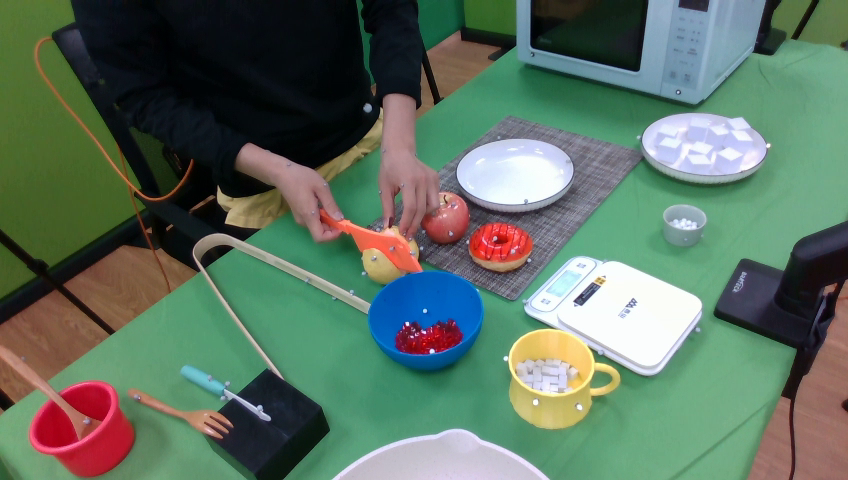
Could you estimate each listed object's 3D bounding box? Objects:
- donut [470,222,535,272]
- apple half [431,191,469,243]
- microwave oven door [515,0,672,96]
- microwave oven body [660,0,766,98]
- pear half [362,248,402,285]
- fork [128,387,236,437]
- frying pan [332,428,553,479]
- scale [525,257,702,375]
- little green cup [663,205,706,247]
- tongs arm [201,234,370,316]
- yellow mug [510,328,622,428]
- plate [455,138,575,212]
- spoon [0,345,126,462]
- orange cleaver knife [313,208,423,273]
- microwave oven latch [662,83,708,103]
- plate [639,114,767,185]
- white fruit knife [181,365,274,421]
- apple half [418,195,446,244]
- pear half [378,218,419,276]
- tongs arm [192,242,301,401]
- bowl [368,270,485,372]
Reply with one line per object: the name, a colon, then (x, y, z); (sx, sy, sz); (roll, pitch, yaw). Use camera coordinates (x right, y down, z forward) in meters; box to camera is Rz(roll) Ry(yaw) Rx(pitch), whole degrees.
donut: (0.119, 0.009, 0.923); (0.099, 0.048, 0.098); (-4, 39, 3)
apple half: (0.045, -0.038, 0.967); (0.053, 0.075, 0.080); (-13, 38, -11)
microwave oven door: (0.343, -0.454, 1.259); (0.353, 0.245, 0.039); (26, 51, 33)
microwave oven body: (0.472, -0.513, 1.317); (0.438, 0.261, 0.327); (26, 51, 34)
pear half: (-0.067, 0.044, 0.887); (0.070, 0.088, 0.031); (21, 68, 19)
fork: (-0.305, 0.207, 0.744); (0.206, 0.019, 0.028); (3, 40, 36)
frying pan: (-0.089, 0.306, 0.564); (0.487, 0.103, 0.306); (10, 41, 7)
scale: (0.254, 0.091, 0.821); (0.199, 0.032, 0.149); (28, 51, 35)
little green cup: (0.396, -0.021, 0.926); (0.061, 0.039, 0.061); (-4, 40, 4)
tongs arm: (-0.208, 0.061, 0.924); (0.381, 0.026, 0.051); (24, 51, 33)
yellow mug: (0.169, 0.164, 0.722); (0.130, 0.064, 0.099); (0, 40, 8)
plate: (0.159, -0.111, 1.063); (0.209, 0.038, 0.208); (-4, 40, 4)
spoon: (-0.434, 0.192, 0.720); (0.194, 0.021, 0.042); (47, 53, -7)
orange cleaver knife: (-0.086, 0.001, 0.885); (0.209, 0.077, 0.012); (20, 52, 37)
microwave oven latch: (0.517, -0.296, 1.204); (0.078, 0.029, 0.030); (27, 52, 35)
plate: (0.489, -0.157, 1.074); (0.207, 0.039, 0.206); (-4, 40, 4)
white fruit knife: (-0.245, 0.187, 0.747); (0.205, 0.027, 0.016); (9, 42, 40)
apple half: (0.009, -0.027, 0.959); (0.033, 0.081, 0.080); (-14, 41, -12)
pear half: (-0.041, 0.003, 0.911); (0.076, 0.110, 0.056); (24, 50, 23)
tongs arm: (-0.268, 0.105, 0.881); (0.028, 0.028, 0.384); (-34, 45, -19)
bowl: (0.007, 0.118, 0.791); (0.151, 0.077, 0.150); (-4, 40, 4)
